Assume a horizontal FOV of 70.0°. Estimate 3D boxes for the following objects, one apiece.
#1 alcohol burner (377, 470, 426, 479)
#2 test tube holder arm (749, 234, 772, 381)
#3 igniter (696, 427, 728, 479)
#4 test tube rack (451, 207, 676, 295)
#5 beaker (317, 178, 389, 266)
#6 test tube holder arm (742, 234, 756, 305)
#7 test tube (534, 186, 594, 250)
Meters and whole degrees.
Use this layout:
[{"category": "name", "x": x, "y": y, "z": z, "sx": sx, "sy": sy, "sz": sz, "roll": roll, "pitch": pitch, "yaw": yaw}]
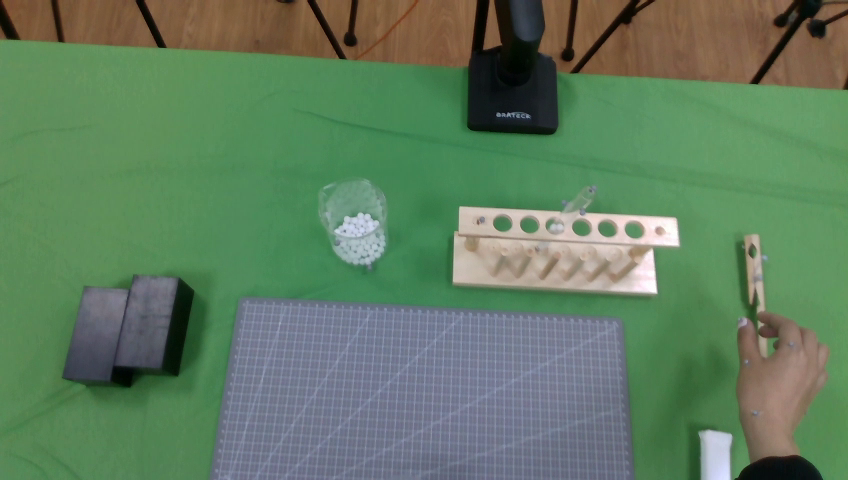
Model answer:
[{"category": "alcohol burner", "x": -0.022, "y": 0.262, "z": 0.582, "sx": 0.078, "sy": 0.120, "sz": 0.077, "roll": 1, "pitch": 67, "yaw": -2}, {"category": "test tube holder arm", "x": 0.399, "y": 0.077, "z": 0.720, "sx": 0.013, "sy": 0.015, "sz": 0.177, "roll": -10, "pitch": 65, "yaw": 32}, {"category": "igniter", "x": 0.294, "y": 0.333, "z": 0.616, "sx": 0.057, "sy": 0.025, "sz": 0.275, "roll": 13, "pitch": 69, "yaw": -8}, {"category": "test tube rack", "x": 0.156, "y": 0.014, "z": 0.701, "sx": 0.242, "sy": 0.086, "sz": 0.066, "roll": 3, "pitch": 69, "yaw": -1}, {"category": "beaker", "x": -0.081, "y": -0.018, "z": 0.697, "sx": 0.083, "sy": 0.101, "sz": 0.074, "roll": 30, "pitch": 71, "yaw": 10}, {"category": "test tube holder arm", "x": 0.397, "y": 0.036, "z": 0.738, "sx": 0.010, "sy": 0.015, "sz": 0.087, "roll": -8, "pitch": 66, "yaw": 33}, {"category": "test tube", "x": 0.148, "y": -0.020, "z": 0.660, "sx": 0.017, "sy": 0.151, "sz": 0.017, "roll": 3, "pitch": 69, "yaw": -8}]
